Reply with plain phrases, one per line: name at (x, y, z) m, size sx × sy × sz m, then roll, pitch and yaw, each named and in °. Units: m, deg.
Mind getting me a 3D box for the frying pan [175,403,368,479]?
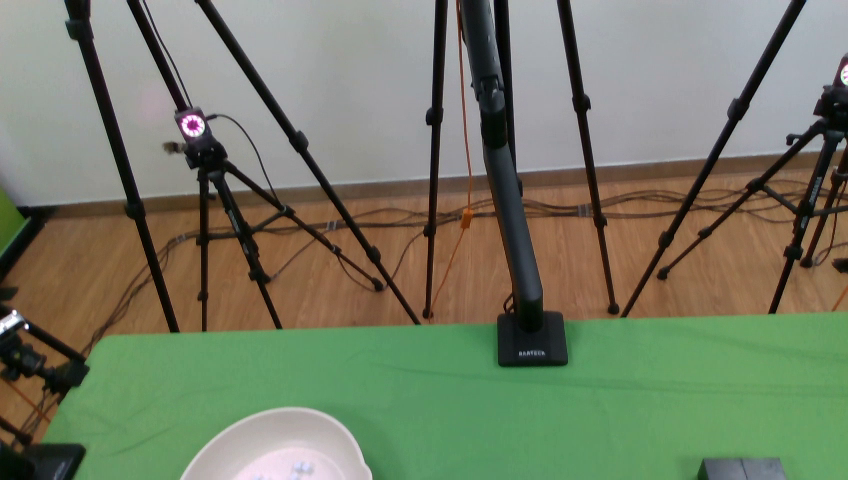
frying pan at (-0.219, 0.444, 0.810) m, size 0.307 × 0.104 × 0.483 m, roll -10°, pitch 35°, yaw 1°
